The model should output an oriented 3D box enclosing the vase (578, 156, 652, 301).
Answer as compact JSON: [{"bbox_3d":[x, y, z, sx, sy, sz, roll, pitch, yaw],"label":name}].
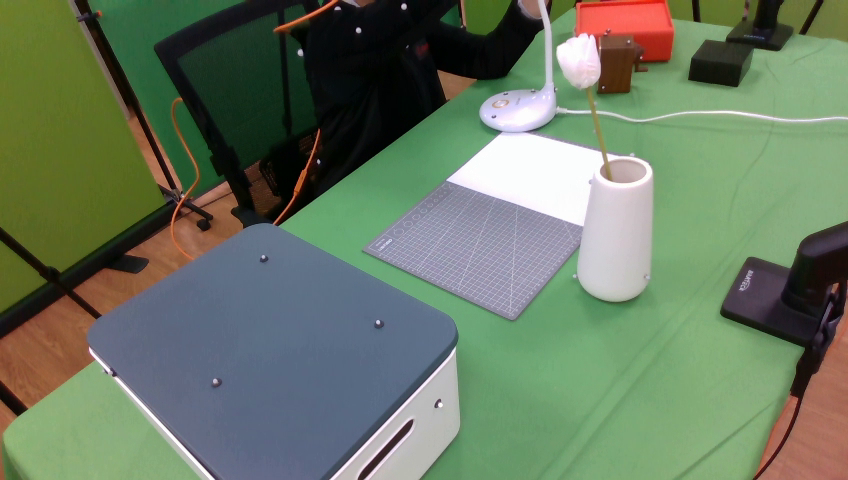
[{"bbox_3d":[0.261,-0.011,0.812,0.098,0.201,0.097,-4,40,4],"label":"vase"}]

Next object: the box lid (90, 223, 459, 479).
[{"bbox_3d":[-0.174,0.102,0.666,0.368,0.015,0.264,24,48,35],"label":"box lid"}]

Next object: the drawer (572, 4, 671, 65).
[{"bbox_3d":[0.461,-0.491,1.435,0.211,0.073,0.194,2,40,12],"label":"drawer"}]

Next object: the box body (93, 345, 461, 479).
[{"bbox_3d":[-0.162,0.170,0.708,0.361,0.161,0.255,25,50,34],"label":"box body"}]

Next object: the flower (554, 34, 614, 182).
[{"bbox_3d":[0.237,-0.083,0.774,0.044,0.363,0.038,-22,26,6],"label":"flower"}]

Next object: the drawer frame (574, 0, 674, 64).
[{"bbox_3d":[0.464,-0.492,1.434,0.213,0.083,0.201,1,40,12],"label":"drawer frame"}]

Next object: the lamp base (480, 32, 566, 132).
[{"bbox_3d":[0.200,-0.332,1.218,0.179,0.181,0.160,2,40,8],"label":"lamp base"}]

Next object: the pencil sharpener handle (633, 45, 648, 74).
[{"bbox_3d":[0.454,-0.378,1.262,0.030,0.068,0.036,1,47,13],"label":"pencil sharpener handle"}]

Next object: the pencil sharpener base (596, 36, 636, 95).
[{"bbox_3d":[0.406,-0.369,1.280,0.076,0.107,0.061,1,41,13],"label":"pencil sharpener base"}]

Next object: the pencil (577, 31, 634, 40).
[{"bbox_3d":[0.430,-0.488,1.443,0.012,0.012,0.192,-25,30,-18],"label":"pencil"}]
